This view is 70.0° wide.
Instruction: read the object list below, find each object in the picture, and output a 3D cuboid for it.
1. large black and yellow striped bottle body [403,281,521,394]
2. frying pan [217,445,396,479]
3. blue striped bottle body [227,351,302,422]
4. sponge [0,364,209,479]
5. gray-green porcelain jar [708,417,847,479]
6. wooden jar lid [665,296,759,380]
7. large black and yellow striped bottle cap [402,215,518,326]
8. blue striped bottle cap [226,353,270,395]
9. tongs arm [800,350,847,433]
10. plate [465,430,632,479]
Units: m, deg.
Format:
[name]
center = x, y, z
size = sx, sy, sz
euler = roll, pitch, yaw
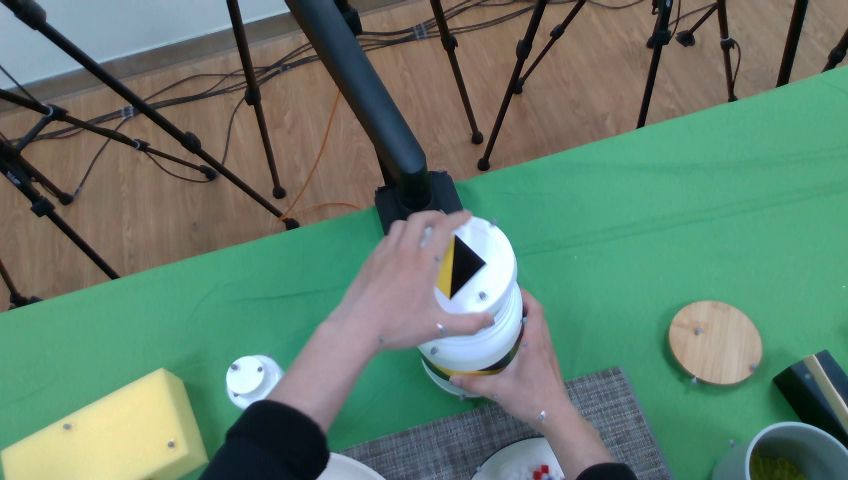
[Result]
[large black and yellow striped bottle body]
center = 0.047, 0.090, 0.701
size = 0.130, 0.186, 0.129
euler = -4, 59, 6
[frying pan]
center = -0.068, 0.429, 0.575
size = 0.307, 0.104, 0.483
euler = -38, 56, -13
[blue striped bottle body]
center = -0.191, 0.173, 0.719
size = 0.063, 0.122, 0.062
euler = -2, 62, 5
[sponge]
center = -0.382, 0.256, 0.728
size = 0.207, 0.061, 0.117
euler = -28, 63, -10
[gray-green porcelain jar]
center = 0.359, 0.247, 0.619
size = 0.106, 0.127, 0.105
euler = -2, 61, 5
[wooden jar lid]
center = 0.354, 0.122, 0.749
size = 0.108, 0.021, 0.107
euler = -2, 63, 5
[large black and yellow striped bottle cap]
center = 0.034, 0.028, 0.595
size = 0.115, 0.019, 0.114
euler = -8, 59, 14
[blue striped bottle cap]
center = -0.196, 0.149, 0.674
size = 0.044, 0.021, 0.044
euler = -4, 59, 7
[tongs arm]
center = 0.507, 0.281, 0.605
size = 0.051, 0.027, 0.382
euler = -20, 72, -8
[plate]
center = 0.135, 0.313, 0.653
size = 0.209, 0.038, 0.207
euler = -2, 62, 5
